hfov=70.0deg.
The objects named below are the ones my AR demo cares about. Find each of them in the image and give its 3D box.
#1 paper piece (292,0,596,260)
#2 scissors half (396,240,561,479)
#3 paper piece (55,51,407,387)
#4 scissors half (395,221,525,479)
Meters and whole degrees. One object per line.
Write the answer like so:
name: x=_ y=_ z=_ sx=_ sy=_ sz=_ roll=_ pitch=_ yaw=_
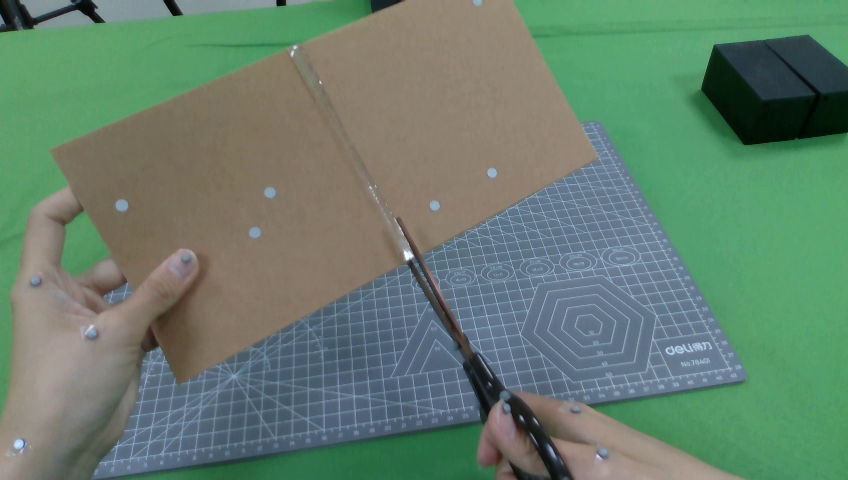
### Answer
paper piece: x=0.017 y=-0.077 z=0.353 sx=0.138 sy=0.008 sz=0.136 roll=-28 pitch=94 yaw=-16
scissors half: x=0.023 y=0.060 z=0.308 sx=0.013 sy=0.040 sz=0.173 roll=-27 pitch=53 yaw=-9
paper piece: x=-0.097 y=-0.015 z=0.322 sx=0.136 sy=0.004 sz=0.135 roll=-28 pitch=94 yaw=-14
scissors half: x=0.023 y=0.069 z=0.332 sx=0.013 sy=0.175 sz=0.040 roll=-27 pitch=6 yaw=-13
